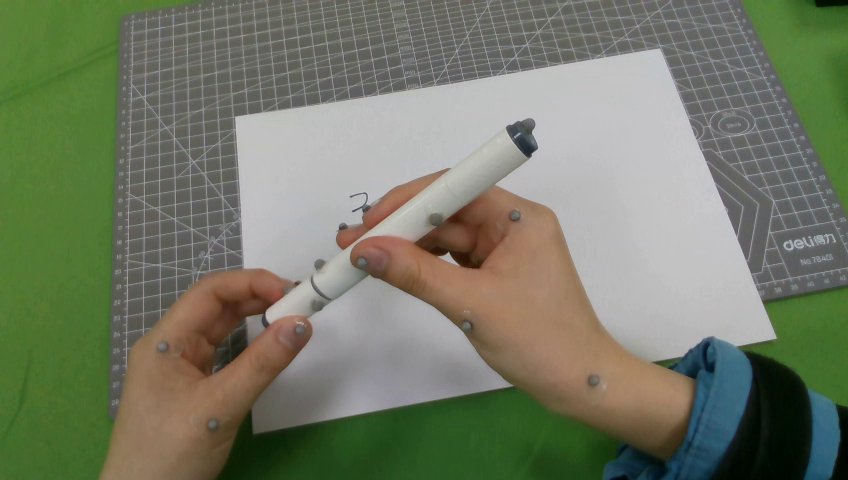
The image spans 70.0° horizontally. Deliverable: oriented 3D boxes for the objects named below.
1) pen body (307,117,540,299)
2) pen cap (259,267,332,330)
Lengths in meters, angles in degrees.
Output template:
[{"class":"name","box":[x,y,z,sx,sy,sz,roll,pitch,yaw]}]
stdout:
[{"class":"pen body","box":[-0.013,-0.003,0.256,0.144,0.017,0.017,-35,66,25]},{"class":"pen cap","box":[-0.060,0.029,0.284,0.038,0.017,0.017,-33,65,26]}]
